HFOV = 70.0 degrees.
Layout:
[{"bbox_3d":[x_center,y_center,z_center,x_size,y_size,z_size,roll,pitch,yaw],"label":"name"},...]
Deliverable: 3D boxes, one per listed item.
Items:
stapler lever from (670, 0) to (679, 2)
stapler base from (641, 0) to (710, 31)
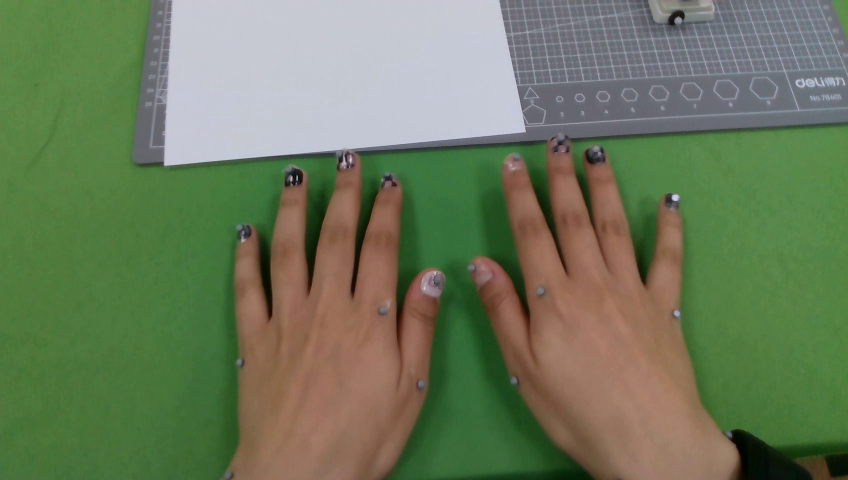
[{"bbox_3d":[0.163,-0.210,0.388,0.027,0.040,0.117,-6,70,-1],"label":"stapler lever"},{"bbox_3d":[0.162,-0.202,0.412,0.041,0.024,0.129,-6,70,-1],"label":"stapler base"}]
